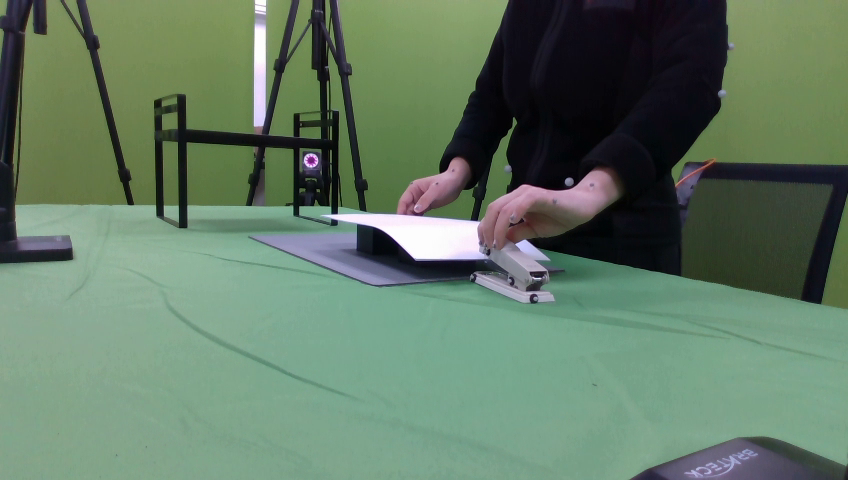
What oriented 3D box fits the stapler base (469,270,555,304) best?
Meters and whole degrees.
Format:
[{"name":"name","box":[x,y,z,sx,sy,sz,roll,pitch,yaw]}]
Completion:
[{"name":"stapler base","box":[0.095,0.045,0.681,0.041,0.024,0.130,-4,12,-23]}]

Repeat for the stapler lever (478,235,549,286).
[{"name":"stapler lever","box":[0.097,0.021,0.676,0.027,0.040,0.117,-4,11,-23]}]
